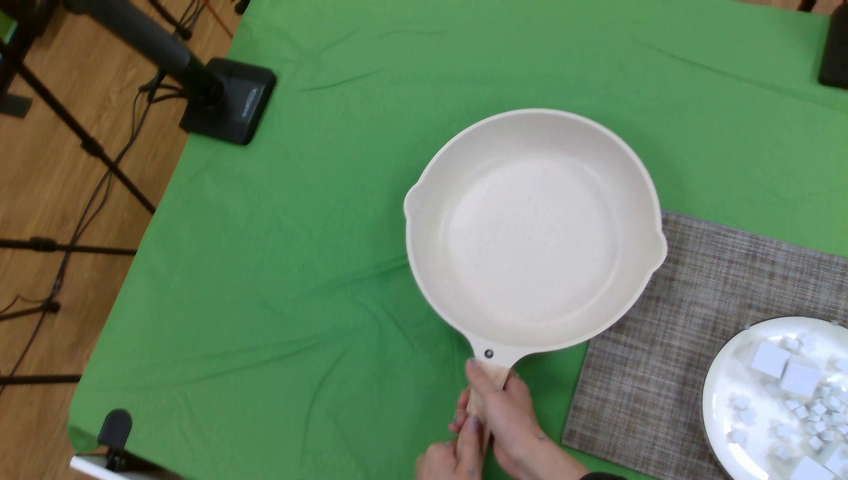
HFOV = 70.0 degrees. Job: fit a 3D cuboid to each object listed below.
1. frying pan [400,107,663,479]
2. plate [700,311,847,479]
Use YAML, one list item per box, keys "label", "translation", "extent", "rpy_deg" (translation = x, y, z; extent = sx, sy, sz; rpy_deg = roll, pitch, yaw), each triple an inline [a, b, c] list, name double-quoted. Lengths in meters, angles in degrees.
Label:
- label: "frying pan"
  translation: [0.091, 0.080, 0.696]
  extent: [0.305, 0.103, 0.485]
  rpy_deg: [13, 71, 16]
- label: "plate"
  translation: [0.400, 0.179, 0.642]
  extent: [0.207, 0.039, 0.206]
  rpy_deg: [-3, 74, 10]
